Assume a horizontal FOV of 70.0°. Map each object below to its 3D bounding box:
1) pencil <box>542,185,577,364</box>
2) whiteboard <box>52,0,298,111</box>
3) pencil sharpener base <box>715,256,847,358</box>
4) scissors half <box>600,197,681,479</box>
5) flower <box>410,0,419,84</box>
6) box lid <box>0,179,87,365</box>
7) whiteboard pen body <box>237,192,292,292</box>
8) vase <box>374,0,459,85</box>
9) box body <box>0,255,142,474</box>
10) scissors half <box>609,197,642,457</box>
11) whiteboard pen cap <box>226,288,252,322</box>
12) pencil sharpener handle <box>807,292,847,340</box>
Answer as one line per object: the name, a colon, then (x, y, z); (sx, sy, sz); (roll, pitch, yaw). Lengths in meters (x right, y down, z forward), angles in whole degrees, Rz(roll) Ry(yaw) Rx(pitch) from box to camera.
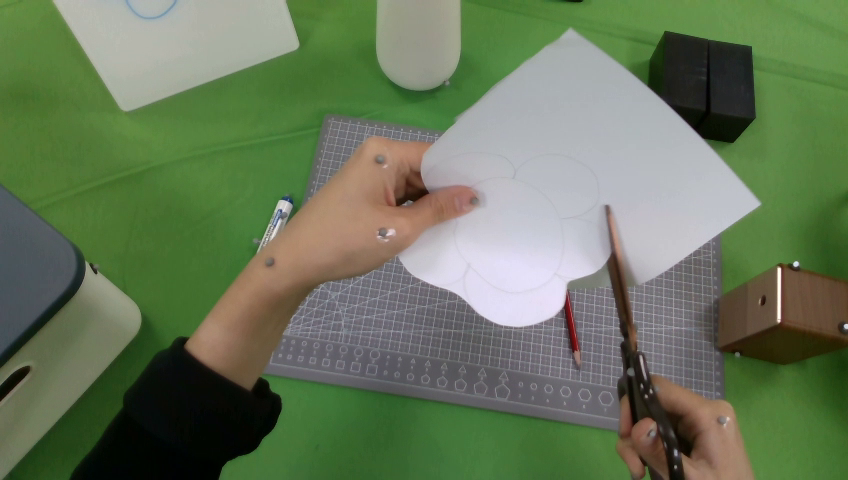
pencil: (0.141, 0.032, 0.628); (0.012, 0.012, 0.192); (-4, 71, -3)
whiteboard: (-0.293, -0.332, 0.631); (0.217, 0.308, 0.142); (-24, 52, -10)
pencil sharpener base: (0.336, 0.067, 0.570); (0.077, 0.107, 0.061); (13, 68, 0)
scissors half: (0.120, 0.060, 0.343); (0.013, 0.040, 0.175); (-12, 86, -1)
flower: (-0.011, -0.299, 0.563); (0.044, 0.365, 0.038); (2, 50, 3)
box lid: (-0.471, 0.009, 0.454); (0.370, 0.015, 0.262); (34, 71, 11)
whiteboard pen body: (-0.167, 0.011, 0.621); (0.017, 0.017, 0.140); (15, 67, 5)
vase: (-0.008, -0.255, 0.635); (0.098, 0.201, 0.097); (0, 67, 0)
box body: (-0.471, 0.038, 0.523); (0.362, 0.161, 0.253); (34, 71, 11)
scissors half: (0.121, 0.057, 0.365); (0.013, 0.039, 0.176); (-11, 113, 4)
whiteboard pen cap: (-0.181, 0.064, 0.598); (0.018, 0.018, 0.033); (14, 64, 4)
pencil sharpener handle: (0.386, 0.075, 0.558); (0.030, 0.068, 0.035); (13, 62, 0)
